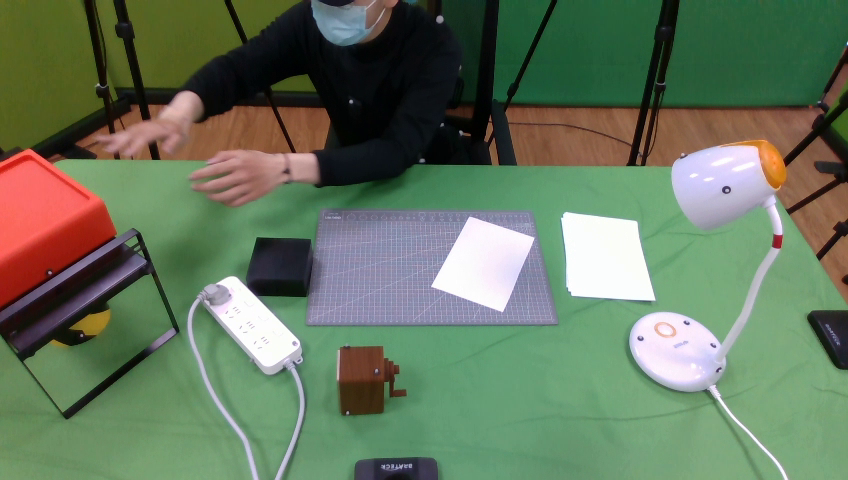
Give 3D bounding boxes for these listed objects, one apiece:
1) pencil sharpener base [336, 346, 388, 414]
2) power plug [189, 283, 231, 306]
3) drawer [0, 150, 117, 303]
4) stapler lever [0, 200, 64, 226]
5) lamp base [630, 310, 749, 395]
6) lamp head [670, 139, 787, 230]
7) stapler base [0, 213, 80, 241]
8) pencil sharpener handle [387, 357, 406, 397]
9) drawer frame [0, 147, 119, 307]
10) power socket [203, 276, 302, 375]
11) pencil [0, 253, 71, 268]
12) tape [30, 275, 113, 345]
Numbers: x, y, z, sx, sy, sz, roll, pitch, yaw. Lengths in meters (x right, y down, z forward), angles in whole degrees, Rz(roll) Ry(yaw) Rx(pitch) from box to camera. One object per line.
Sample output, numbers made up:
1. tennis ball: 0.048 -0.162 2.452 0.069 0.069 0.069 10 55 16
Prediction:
1. pencil sharpener base: -0.094 0.215 0.927 0.077 0.107 0.061 -1 46 -6
2. power plug: -0.368 0.099 1.037 0.072 0.053 0.035 -24 52 -26
3. drawer: -0.604 -0.021 0.885 0.194 0.073 0.211 30 52 22
4. stapler lever: -0.595 -0.042 0.903 0.118 0.040 0.026 5 42 10
5. lamp base: 0.447 0.142 0.984 0.161 0.181 0.178 -24 55 -24
6. lamp head: 0.415 -0.079 0.812 0.113 0.123 0.112 13 70 -37
7. stapler base: -0.592 -0.024 0.920 0.130 0.024 0.041 4 42 10
8. pencil sharpener handle: -0.041 0.209 0.919 0.031 0.068 0.036 -1 25 -6
9. drawer frame: -0.603 -0.020 0.882 0.201 0.083 0.213 29 52 21
10. power socket: -0.297 0.141 1.034 0.072 0.033 0.225 -34 58 -30
11. pencil: -0.606 0.024 0.876 0.194 0.012 0.012 10 46 0
12. tape: -0.594 0.117 1.021 0.117 0.053 0.116 2 45 -2
